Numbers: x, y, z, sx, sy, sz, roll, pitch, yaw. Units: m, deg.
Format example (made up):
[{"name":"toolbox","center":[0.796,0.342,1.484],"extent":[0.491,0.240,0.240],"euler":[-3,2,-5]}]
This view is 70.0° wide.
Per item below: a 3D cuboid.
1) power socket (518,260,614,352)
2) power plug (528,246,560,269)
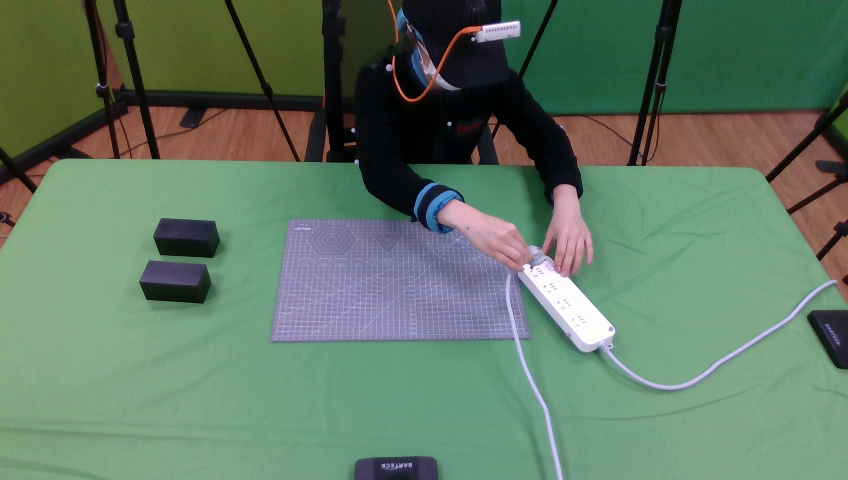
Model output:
[{"name":"power socket","center":[0.254,0.110,1.099],"extent":[0.072,0.033,0.225],"euler":[-19,50,-21]},{"name":"power plug","center":[0.217,0.037,1.067],"extent":[0.073,0.035,0.052],"euler":[26,39,-9]}]
